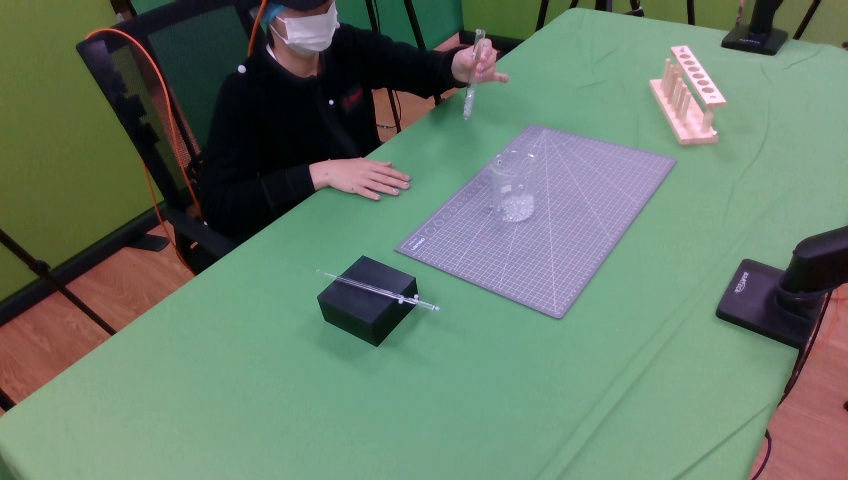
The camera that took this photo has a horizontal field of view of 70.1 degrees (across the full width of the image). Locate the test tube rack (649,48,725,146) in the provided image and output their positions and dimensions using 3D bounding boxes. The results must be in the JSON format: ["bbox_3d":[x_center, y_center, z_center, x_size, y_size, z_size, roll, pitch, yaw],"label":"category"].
[{"bbox_3d":[0.508,-0.285,1.186,0.067,0.085,0.241,-4,40,6],"label":"test tube rack"}]

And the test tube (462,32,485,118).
[{"bbox_3d":[0.083,-0.277,1.024,0.017,0.150,0.017,6,37,-4],"label":"test tube"}]

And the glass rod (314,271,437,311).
[{"bbox_3d":[-0.071,0.069,0.837,0.198,0.008,0.008,14,44,24],"label":"glass rod"}]

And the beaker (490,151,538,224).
[{"bbox_3d":[0.151,-0.084,0.988,0.084,0.101,0.073,-24,43,-19],"label":"beaker"}]
